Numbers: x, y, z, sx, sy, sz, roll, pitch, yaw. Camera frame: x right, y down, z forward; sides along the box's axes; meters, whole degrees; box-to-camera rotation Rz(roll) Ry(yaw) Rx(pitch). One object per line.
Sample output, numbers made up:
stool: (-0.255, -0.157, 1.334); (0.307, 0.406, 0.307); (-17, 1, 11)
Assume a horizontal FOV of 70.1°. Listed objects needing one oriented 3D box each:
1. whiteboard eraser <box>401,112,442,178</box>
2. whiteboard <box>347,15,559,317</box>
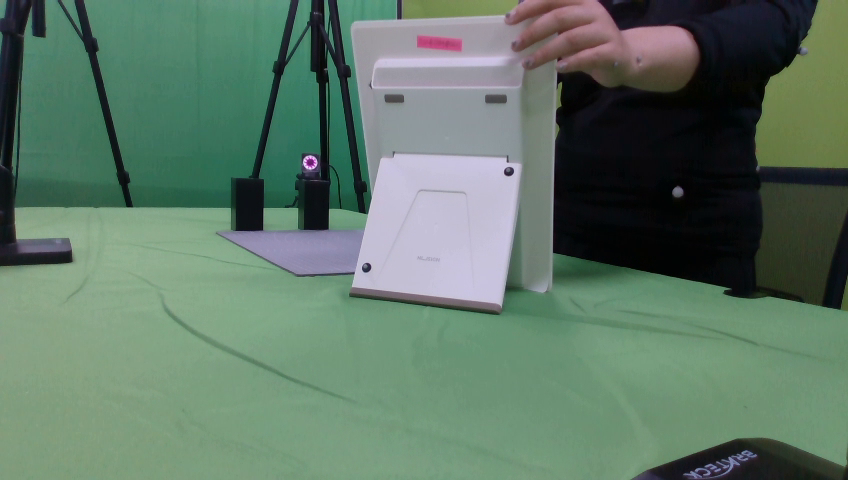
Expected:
whiteboard eraser: (-0.002, -0.116, 0.745); (0.041, 0.019, 0.101); (1, -35, 10)
whiteboard: (0.012, -0.056, 0.609); (0.216, 0.305, 0.144); (5, 27, 20)
